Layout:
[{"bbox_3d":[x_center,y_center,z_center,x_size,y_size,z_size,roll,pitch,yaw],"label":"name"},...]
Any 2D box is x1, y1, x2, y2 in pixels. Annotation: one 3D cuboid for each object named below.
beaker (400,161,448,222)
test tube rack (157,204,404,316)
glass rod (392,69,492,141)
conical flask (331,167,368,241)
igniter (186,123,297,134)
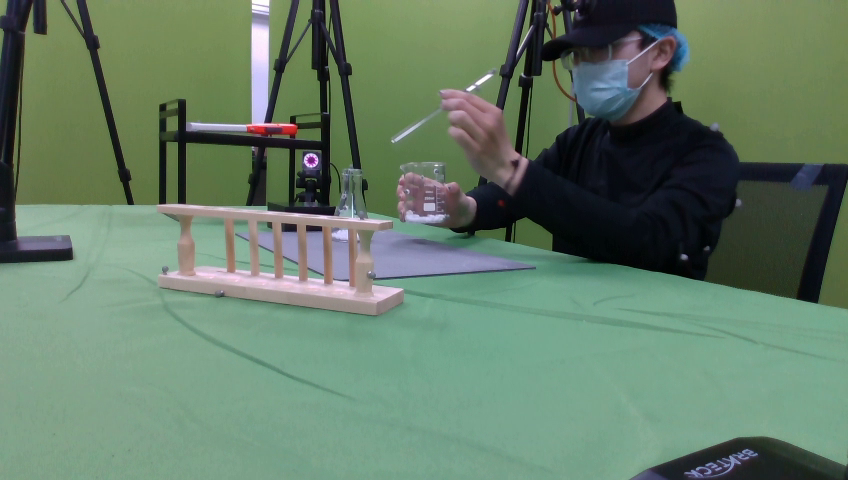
[{"bbox_3d":[0.000,-0.080,1.003,0.084,0.100,0.073,-3,5,-25],"label":"beaker"},{"bbox_3d":[-0.143,0.013,0.599,0.242,0.085,0.067,5,8,19],"label":"test tube rack"},{"bbox_3d":[0.022,-0.194,0.890,0.199,0.008,0.008,-29,-13,35],"label":"glass rod"},{"bbox_3d":[-0.123,-0.061,1.019,0.075,0.122,0.075,2,7,0],"label":"conical flask"},{"bbox_3d":[-0.392,-0.248,1.341,0.057,0.025,0.278,9,14,38],"label":"igniter"}]
